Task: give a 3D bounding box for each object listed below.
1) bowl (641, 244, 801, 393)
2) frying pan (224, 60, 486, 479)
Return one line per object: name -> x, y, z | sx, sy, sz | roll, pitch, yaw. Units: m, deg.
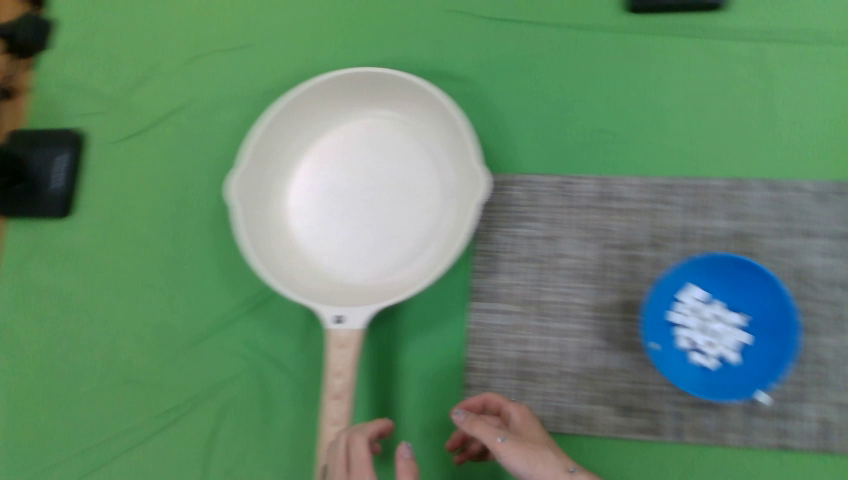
bowl -> 0.301, 0.084, 0.640 | 0.151, 0.077, 0.151 | -1, 80, 8
frying pan -> -0.085, 0.033, 0.690 | 0.306, 0.103, 0.485 | 1, 72, 8
